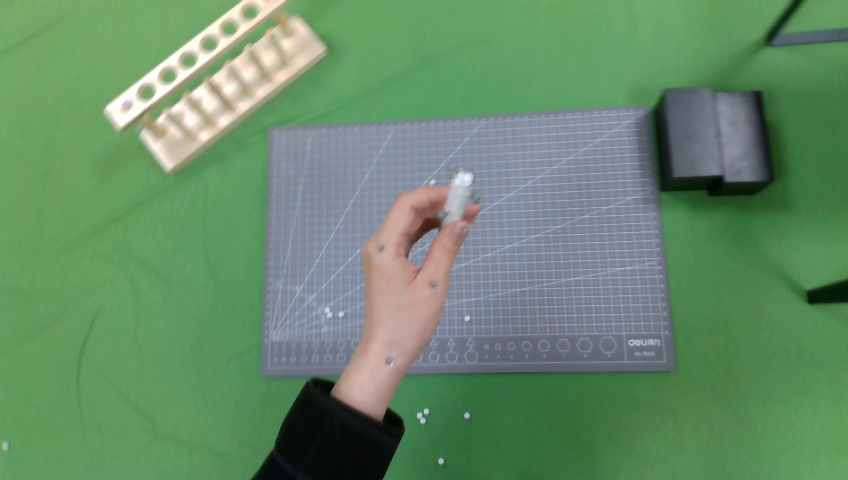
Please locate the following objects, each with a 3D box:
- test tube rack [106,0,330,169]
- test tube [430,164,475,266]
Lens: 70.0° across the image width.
[{"bbox_3d":[-0.233,-0.194,0.707,0.242,0.085,0.066,-39,77,-3],"label":"test tube rack"},{"bbox_3d":[0.018,-0.012,0.442,0.017,0.151,0.017,2,67,-4],"label":"test tube"}]
